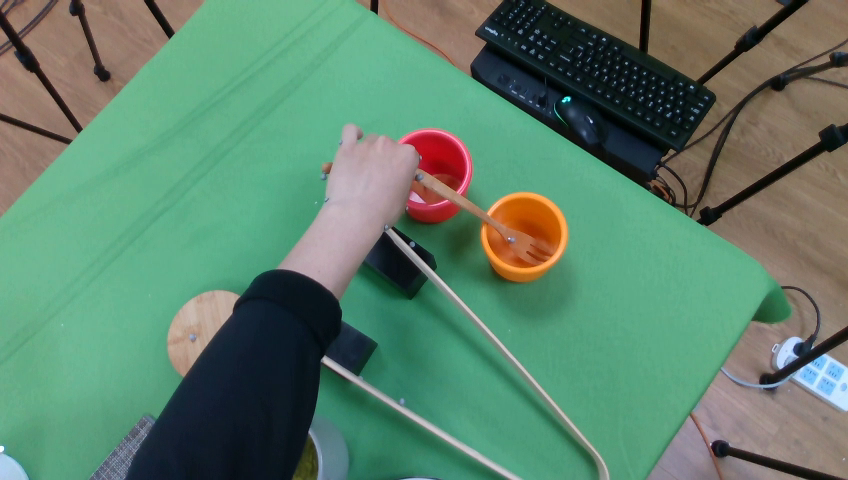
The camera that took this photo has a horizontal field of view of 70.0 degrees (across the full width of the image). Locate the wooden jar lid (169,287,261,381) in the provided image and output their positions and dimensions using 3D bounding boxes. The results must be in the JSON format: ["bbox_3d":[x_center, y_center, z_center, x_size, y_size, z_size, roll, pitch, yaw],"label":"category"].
[{"bbox_3d":[-0.240,0.109,0.702,0.108,0.021,0.108,-1,75,4],"label":"wooden jar lid"}]

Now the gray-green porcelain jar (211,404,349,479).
[{"bbox_3d":[-0.135,0.219,0.605,0.106,0.127,0.105,-1,74,5],"label":"gray-green porcelain jar"}]

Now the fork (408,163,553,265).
[{"bbox_3d":[0.064,-0.025,0.642,0.209,0.018,0.028,31,86,-31],"label":"fork"}]

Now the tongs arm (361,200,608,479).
[{"bbox_3d":[0.060,0.103,0.638,0.028,0.028,0.386,-41,85,-15],"label":"tongs arm"}]

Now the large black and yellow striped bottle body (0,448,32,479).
[{"bbox_3d":[-0.506,0.273,0.596,0.130,0.185,0.130,-2,73,6],"label":"large black and yellow striped bottle body"}]

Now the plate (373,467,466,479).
[{"bbox_3d":[-0.004,0.336,0.606,0.207,0.039,0.206,-1,74,5],"label":"plate"}]

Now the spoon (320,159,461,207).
[{"bbox_3d":[-0.029,-0.065,0.648,0.021,0.195,0.042,31,106,40],"label":"spoon"}]

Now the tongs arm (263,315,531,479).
[{"bbox_3d":[0.007,0.167,0.624,0.384,0.026,0.050,33,78,3],"label":"tongs arm"}]
